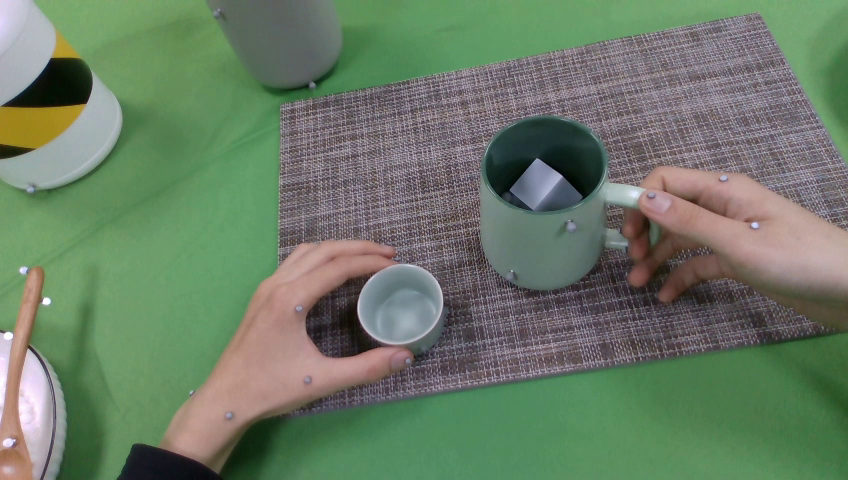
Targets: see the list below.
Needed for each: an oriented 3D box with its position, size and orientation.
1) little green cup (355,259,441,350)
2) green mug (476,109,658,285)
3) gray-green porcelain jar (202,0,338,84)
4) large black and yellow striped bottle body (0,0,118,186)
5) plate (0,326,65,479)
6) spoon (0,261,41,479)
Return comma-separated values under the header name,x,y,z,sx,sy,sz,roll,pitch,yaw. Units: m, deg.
name,x,y,z,sx,sy,sz,roll,pitch,yaw
little green cup,-0.017,0.049,0.437,0.061,0.039,0.061,-4,62,8
green mug,0.096,-0.024,0.419,0.125,0.106,0.092,11,63,14
gray-green porcelain jar,-0.141,-0.217,0.555,0.106,0.127,0.105,-4,61,7
large black and yellow striped bottle body,-0.375,-0.147,0.522,0.130,0.185,0.129,-4,61,7
plate,-0.353,0.162,0.434,0.209,0.038,0.207,-4,61,7
spoon,-0.297,0.103,0.439,0.041,0.022,0.192,-8,69,4
